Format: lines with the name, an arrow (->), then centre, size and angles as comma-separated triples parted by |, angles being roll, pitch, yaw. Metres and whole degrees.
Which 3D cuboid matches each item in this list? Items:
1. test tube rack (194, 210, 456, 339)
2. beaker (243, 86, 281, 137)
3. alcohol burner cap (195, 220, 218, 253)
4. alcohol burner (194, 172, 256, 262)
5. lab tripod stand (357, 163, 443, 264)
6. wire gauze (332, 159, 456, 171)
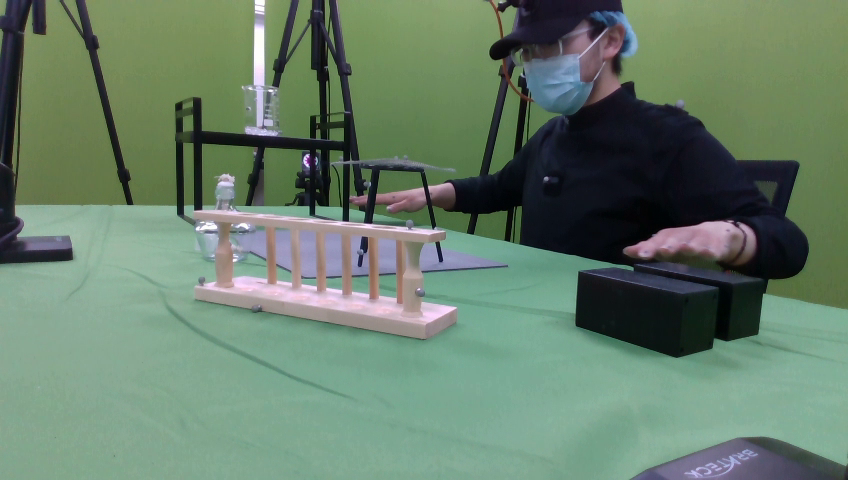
test tube rack -> -0.093, 0.023, 0.545 | 0.241, 0.085, 0.067 | 6, 8, 25
beaker -> -0.338, -0.265, 1.253 | 0.073, 0.100, 0.084 | 8, 10, 38
alcohol burner cap -> -0.316, -0.007, 0.882 | 0.034, 0.048, 0.034 | 3, 8, 0
alcohol burner -> -0.264, -0.031, 0.801 | 0.078, 0.119, 0.078 | 0, 8, 0
lab tripod stand -> -0.044, -0.038, 0.830 | 0.148, 0.131, 0.148 | 3, 6, 0
wire gauze -> -0.042, -0.104, 0.819 | 0.126, 0.011, 0.121 | -3, 9, -44
